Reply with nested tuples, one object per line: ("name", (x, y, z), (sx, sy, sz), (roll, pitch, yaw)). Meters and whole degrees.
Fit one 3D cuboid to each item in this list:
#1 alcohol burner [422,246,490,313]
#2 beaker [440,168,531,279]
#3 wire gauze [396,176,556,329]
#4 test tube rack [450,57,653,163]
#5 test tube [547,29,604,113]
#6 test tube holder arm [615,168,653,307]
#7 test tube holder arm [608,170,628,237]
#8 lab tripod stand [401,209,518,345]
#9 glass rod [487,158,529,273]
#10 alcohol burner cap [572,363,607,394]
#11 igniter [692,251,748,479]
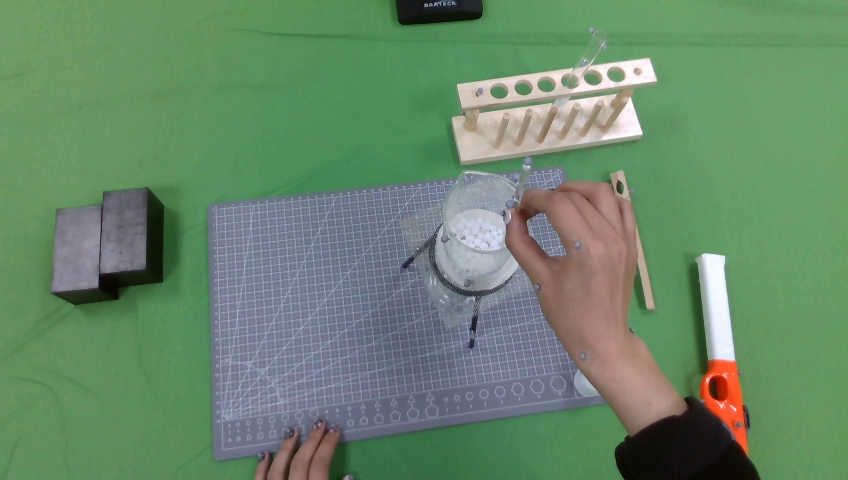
("alcohol burner", (0.036, 0.038, 0.668), (0.078, 0.120, 0.077), (1, 69, -1))
("beaker", (0.049, -0.011, 0.554), (0.074, 0.101, 0.083), (-22, 72, -8))
("wire gauze", (0.050, 0.007, 0.599), (0.121, 0.011, 0.124), (-23, 74, -7))
("test tube rack", (0.159, -0.162, 0.763), (0.243, 0.085, 0.066), (-9, 71, -6))
("test tube", (0.178, -0.197, 0.724), (0.017, 0.151, 0.017), (3, 68, -8))
("test tube holder arm", (0.258, -0.005, 0.747), (0.013, 0.015, 0.177), (-17, 70, 26))
("test tube holder arm", (0.247, -0.046, 0.763), (0.010, 0.015, 0.087), (-17, 70, 26))
("lab tripod stand", (0.042, 0.032, 0.660), (0.148, 0.132, 0.147), (0, 71, -1))
("glass rod", (0.065, -0.012, 0.494), (0.008, 0.201, 0.008), (1, 66, -1))
("alcohol burner cap", (0.186, 0.151, 0.674), (0.034, 0.048, 0.033), (1, 70, -2))
("igniter", (0.337, 0.145, 0.695), (0.057, 0.025, 0.274), (7, 70, -11))
